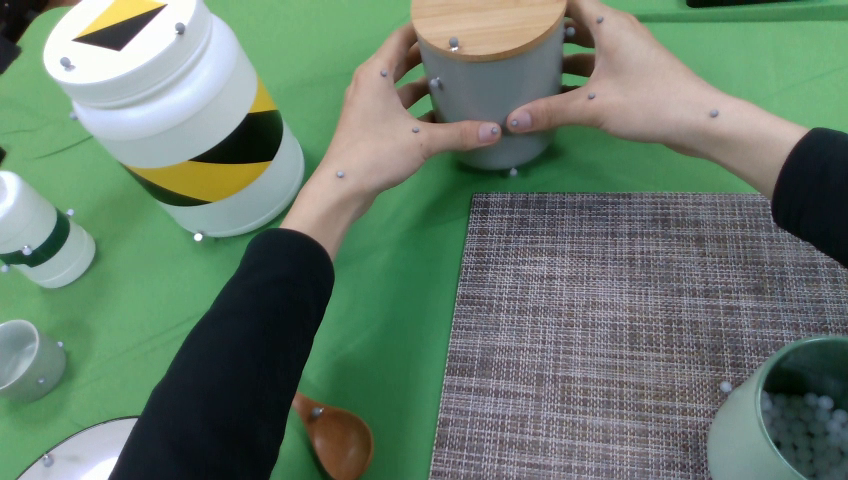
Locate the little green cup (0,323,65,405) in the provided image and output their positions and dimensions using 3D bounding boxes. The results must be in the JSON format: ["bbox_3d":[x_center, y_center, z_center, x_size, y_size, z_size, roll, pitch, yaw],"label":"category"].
[{"bbox_3d":[-0.327,0.103,0.489,0.061,0.039,0.061,-6,56,10],"label":"little green cup"}]

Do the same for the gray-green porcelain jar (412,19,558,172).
[{"bbox_3d":[0.052,-0.125,0.478,0.106,0.128,0.105,-5,56,8],"label":"gray-green porcelain jar"}]

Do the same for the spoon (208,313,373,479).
[{"bbox_3d":[-0.105,0.105,0.443,0.192,0.022,0.041,34,87,28],"label":"spoon"}]

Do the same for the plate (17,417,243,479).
[{"bbox_3d":[-0.199,0.220,0.384,0.209,0.038,0.207,-6,57,10],"label":"plate"}]

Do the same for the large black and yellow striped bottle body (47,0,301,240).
[{"bbox_3d":[-0.193,-0.098,0.494,0.130,0.186,0.129,-6,57,10],"label":"large black and yellow striped bottle body"}]

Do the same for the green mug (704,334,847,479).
[{"bbox_3d":[0.215,0.111,0.306,0.124,0.106,0.092,23,66,25],"label":"green mug"}]

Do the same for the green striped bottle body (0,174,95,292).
[{"bbox_3d":[-0.347,-0.009,0.515,0.063,0.120,0.062,-6,57,10],"label":"green striped bottle body"}]

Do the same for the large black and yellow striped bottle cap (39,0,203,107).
[{"bbox_3d":[-0.212,-0.140,0.424,0.115,0.019,0.114,-6,56,10],"label":"large black and yellow striped bottle cap"}]

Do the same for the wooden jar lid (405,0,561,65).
[{"bbox_3d":[0.041,-0.159,0.427,0.108,0.021,0.107,-5,59,8],"label":"wooden jar lid"}]
